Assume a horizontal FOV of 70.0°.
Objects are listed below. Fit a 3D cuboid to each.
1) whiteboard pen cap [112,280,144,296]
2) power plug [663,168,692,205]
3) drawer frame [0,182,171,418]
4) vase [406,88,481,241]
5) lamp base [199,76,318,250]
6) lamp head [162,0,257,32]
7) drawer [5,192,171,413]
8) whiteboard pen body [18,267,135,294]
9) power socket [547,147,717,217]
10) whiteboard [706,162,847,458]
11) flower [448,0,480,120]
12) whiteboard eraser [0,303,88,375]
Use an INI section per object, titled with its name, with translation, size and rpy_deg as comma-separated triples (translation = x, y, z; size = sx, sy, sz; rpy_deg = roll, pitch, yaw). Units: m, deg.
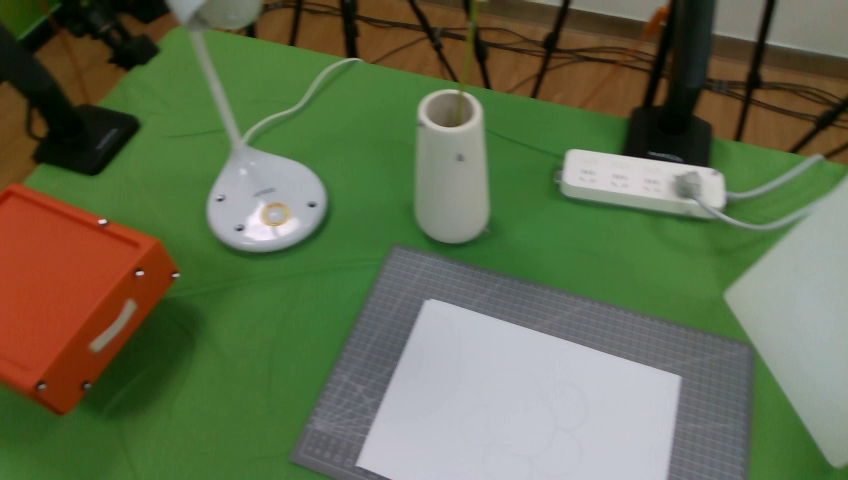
[whiteboard pen cap]
translation = -0.340, 0.055, 0.692
size = 0.033, 0.018, 0.018
rpy_deg = 5, 54, 14
[power plug]
translation = 0.328, -0.064, 0.791
size = 0.035, 0.053, 0.072
rpy_deg = 19, 58, 15
[drawer frame]
translation = -0.436, 0.058, 0.668
size = 0.213, 0.083, 0.200
rpy_deg = 20, 57, 13
[vase]
translation = 0.022, -0.087, 0.741
size = 0.098, 0.202, 0.097
rpy_deg = -1, 53, 2
[lamp base]
translation = -0.235, -0.106, 0.773
size = 0.160, 0.182, 0.177
rpy_deg = -31, 56, -20
[lamp head]
translation = -0.199, -0.259, 0.525
size = 0.112, 0.112, 0.123
rpy_deg = -39, 100, -23
[drawer]
translation = -0.429, 0.058, 0.665
size = 0.211, 0.074, 0.193
rpy_deg = 19, 58, 15
[whiteboard pen body]
translation = -0.400, 0.048, 0.698
size = 0.140, 0.017, 0.017
rpy_deg = 8, 54, 5
[power socket]
translation = 0.285, -0.082, 0.834
size = 0.226, 0.033, 0.071
rpy_deg = 10, 56, 8
[whiteboard]
translation = 0.484, 0.048, 0.604
size = 0.144, 0.307, 0.215
rpy_deg = -1, 51, -22
[flower]
translation = 0.032, -0.147, 0.683
size = 0.038, 0.364, 0.043
rpy_deg = 6, 36, -2
[whiteboard eraser]
translation = -0.422, 0.107, 0.650
size = 0.112, 0.042, 0.055
rpy_deg = 10, 48, 18
